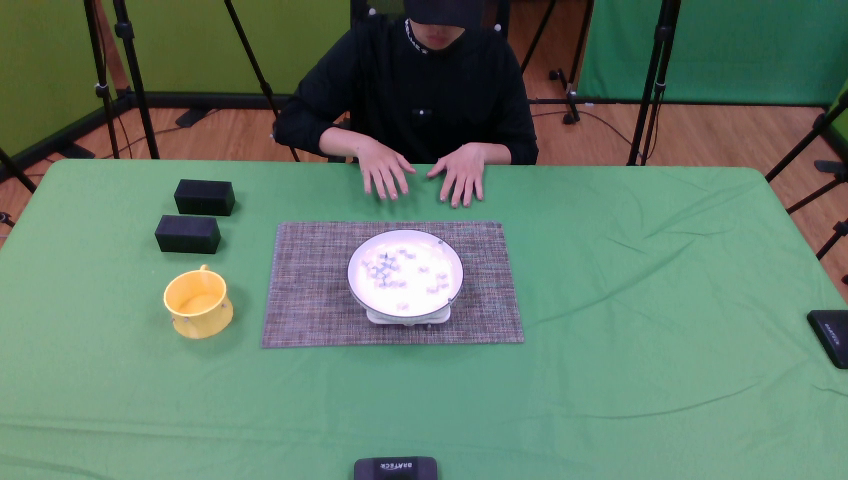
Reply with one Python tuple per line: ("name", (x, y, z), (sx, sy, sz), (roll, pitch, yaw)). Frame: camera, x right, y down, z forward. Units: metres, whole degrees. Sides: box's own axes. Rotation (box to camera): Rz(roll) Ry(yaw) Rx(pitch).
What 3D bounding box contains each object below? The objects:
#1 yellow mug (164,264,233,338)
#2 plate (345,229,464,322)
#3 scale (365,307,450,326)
("yellow mug", (-0.384, 0.097, 1.044), (0.100, 0.064, 0.130), (-1, 45, -5))
("plate", (-0.034, 0.065, 1.073), (0.209, 0.038, 0.208), (2, 46, -2))
("scale", (-0.032, 0.071, 1.113), (0.149, 0.032, 0.199), (0, 46, -4))
